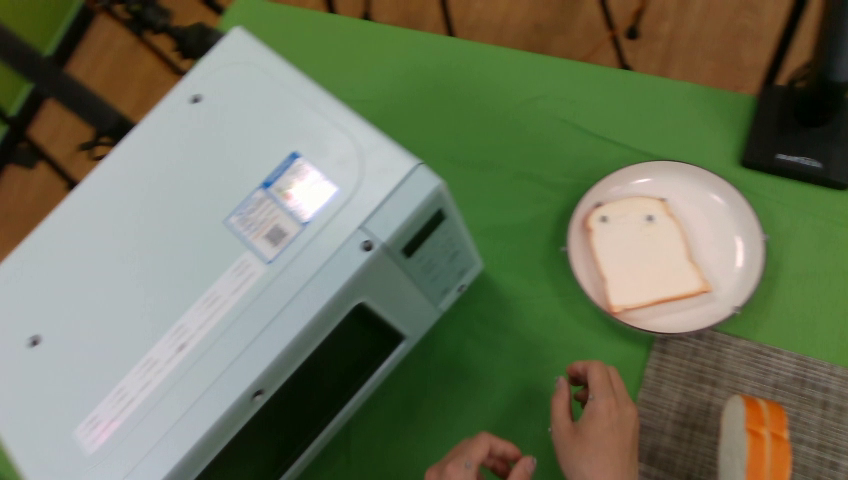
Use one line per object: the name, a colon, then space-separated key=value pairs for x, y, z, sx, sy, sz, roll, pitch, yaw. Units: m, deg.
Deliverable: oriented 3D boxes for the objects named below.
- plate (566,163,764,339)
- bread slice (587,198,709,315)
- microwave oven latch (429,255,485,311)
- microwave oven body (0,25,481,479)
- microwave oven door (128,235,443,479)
plate: x=0.268 y=0.013 z=0.690 sx=0.207 sy=0.039 sz=0.206 roll=-5 pitch=69 yaw=12
bread slice: x=0.244 y=0.015 z=0.693 sx=0.107 sy=0.018 sz=0.133 roll=-17 pitch=65 yaw=4
microwave oven latch: x=0.038 y=0.045 z=0.716 sx=0.079 sy=0.030 sz=0.030 roll=-46 pitch=66 yaw=-5
microwave oven body: x=-0.209 y=0.054 z=0.669 sx=0.323 sy=0.262 sz=0.441 roll=40 pitch=84 yaw=24
microwave oven door: x=-0.136 y=0.168 z=0.601 sx=0.039 sy=0.246 sz=0.355 roll=40 pitch=83 yaw=25
